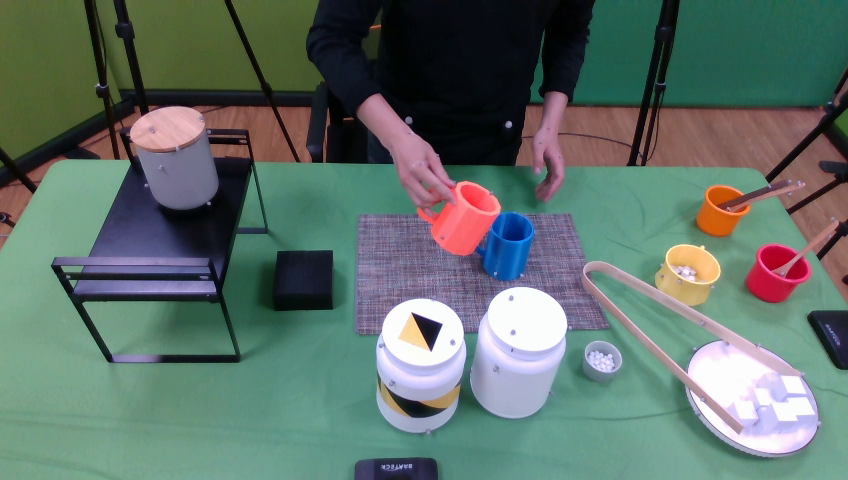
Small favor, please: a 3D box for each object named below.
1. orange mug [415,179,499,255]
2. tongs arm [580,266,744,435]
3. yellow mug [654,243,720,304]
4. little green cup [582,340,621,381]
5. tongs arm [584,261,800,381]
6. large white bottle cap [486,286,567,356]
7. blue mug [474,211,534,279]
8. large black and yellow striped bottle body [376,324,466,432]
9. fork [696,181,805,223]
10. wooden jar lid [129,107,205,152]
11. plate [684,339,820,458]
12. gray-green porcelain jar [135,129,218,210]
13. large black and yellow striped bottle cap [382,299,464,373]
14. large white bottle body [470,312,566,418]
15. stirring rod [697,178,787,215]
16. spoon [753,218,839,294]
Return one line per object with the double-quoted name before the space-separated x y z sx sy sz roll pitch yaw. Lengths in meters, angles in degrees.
"orange mug" 0.052 -0.047 1.026 0.126 0.101 0.083 33 34 -7
"tongs arm" 0.384 0.173 1.028 0.028 0.028 0.385 -25 46 -15
"yellow mug" 0.504 0.054 1.154 0.099 0.064 0.130 28 50 22
"little green cup" 0.295 0.204 1.015 0.061 0.039 0.061 2 45 -2
"tongs arm" 0.452 0.137 1.064 0.051 0.027 0.382 -34 50 -27
"large white bottle cap" 0.147 0.114 0.869 0.115 0.018 0.114 3 46 -3
"blue mug" 0.141 0.005 1.140 0.116 0.106 0.082 18 48 13
"large black and yellow striped bottle body" -0.007 0.189 0.905 0.131 0.185 0.130 2 46 -2
"fork" 0.659 -0.077 1.232 0.207 0.019 0.028 -26 35 34
"wooden jar lid" -0.385 -0.163 0.915 0.108 0.021 0.107 2 47 -2
"plate" 0.523 0.256 0.982 0.208 0.039 0.206 2 46 -2
"gray-green porcelain jar" -0.388 -0.120 0.960 0.106 0.127 0.105 2 46 -2
"large black and yellow striped bottle cap" -0.002 0.132 0.843 0.115 0.019 0.114 2 46 -1
"large white bottle body" 0.143 0.173 0.930 0.131 0.185 0.130 2 46 -2
"stirring rod" 0.650 -0.088 1.245 0.006 0.176 0.014 29 50 -39
"spoon" 0.700 0.031 1.138 0.194 0.022 0.041 -47 55 14
